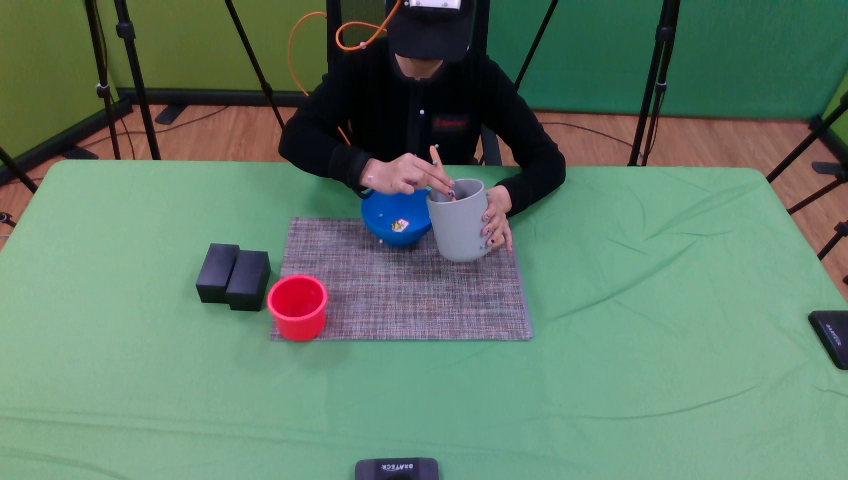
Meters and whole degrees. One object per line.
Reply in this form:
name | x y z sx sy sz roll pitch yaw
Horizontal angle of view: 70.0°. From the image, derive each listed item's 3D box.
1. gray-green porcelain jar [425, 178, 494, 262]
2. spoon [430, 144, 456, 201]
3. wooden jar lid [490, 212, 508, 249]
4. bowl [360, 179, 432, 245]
gray-green porcelain jar | 0.067 -0.033 1.078 0.106 0.127 0.105 -12 26 6
spoon | 0.049 -0.076 1.052 0.041 0.021 0.193 -24 89 -12
wooden jar lid | 0.115 -0.018 1.220 0.108 0.021 0.107 3 47 -3
bowl | -0.049 -0.042 1.190 0.151 0.077 0.150 2 46 -2
